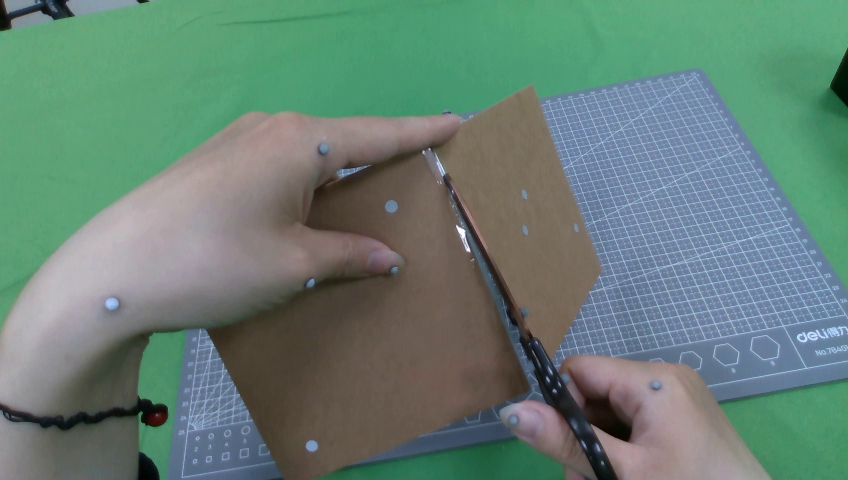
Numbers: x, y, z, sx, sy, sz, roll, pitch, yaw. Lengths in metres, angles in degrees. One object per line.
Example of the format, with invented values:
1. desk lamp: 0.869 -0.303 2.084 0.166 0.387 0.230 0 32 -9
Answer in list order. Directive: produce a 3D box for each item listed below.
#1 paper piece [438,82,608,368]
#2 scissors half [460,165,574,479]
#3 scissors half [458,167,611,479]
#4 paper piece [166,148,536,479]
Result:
1. paper piece: 0.067 -0.014 0.345 0.004 0.136 0.135 -16 15 36
2. scissors half: 0.050 0.045 0.295 0.013 0.176 0.040 -22 13 0
3. scissors half: 0.051 0.047 0.275 0.013 0.040 0.175 -23 87 -5
4. paper piece: -0.034 0.043 0.296 0.138 0.136 0.008 -22 9 3
